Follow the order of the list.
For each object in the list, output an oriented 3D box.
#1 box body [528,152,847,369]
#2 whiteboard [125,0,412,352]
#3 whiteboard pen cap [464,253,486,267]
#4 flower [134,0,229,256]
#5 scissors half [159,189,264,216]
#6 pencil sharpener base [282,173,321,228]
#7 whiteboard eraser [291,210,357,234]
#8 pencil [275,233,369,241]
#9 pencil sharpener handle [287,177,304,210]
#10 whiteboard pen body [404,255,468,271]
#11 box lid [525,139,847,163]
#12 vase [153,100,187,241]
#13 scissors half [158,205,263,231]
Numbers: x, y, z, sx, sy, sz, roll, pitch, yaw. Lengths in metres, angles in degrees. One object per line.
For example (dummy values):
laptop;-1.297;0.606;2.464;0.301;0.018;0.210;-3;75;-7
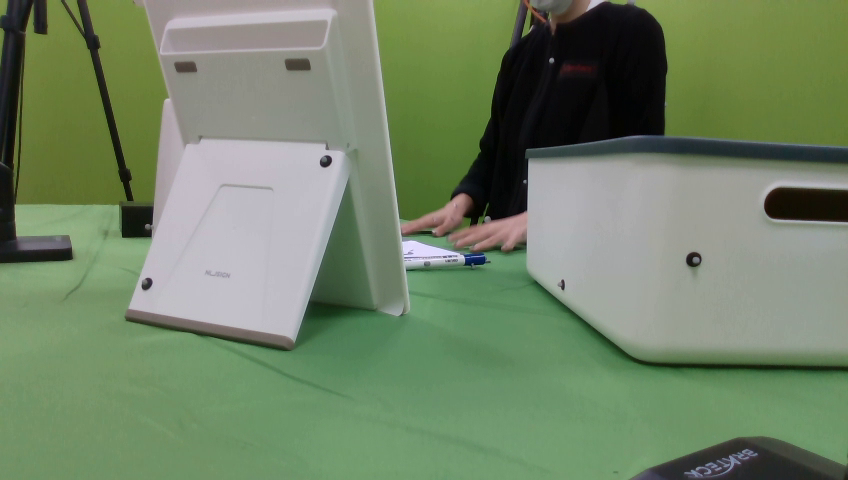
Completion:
box body;0.258;-0.005;0.591;0.254;0.160;0.363;2;7;-4
whiteboard;-0.151;-0.049;0.471;0.216;0.305;0.144;6;27;24
whiteboard pen cap;0.066;0.027;0.818;0.033;0.018;0.018;-6;10;-24
flower;-0.282;-0.146;0.713;0.038;0.362;0.044;-23;24;-31
scissors half;-0.370;-0.062;1.059;0.176;0.040;0.013;-11;8;-26
pencil sharpener base;-0.247;-0.080;1.212;0.061;0.107;0.076;-2;5;-28
whiteboard eraser;-0.184;-0.034;1.115;0.113;0.042;0.055;-3;10;-40
pencil;-0.169;-0.006;1.036;0.195;0.012;0.012;-2;9;-45
pencil sharpener handle;-0.269;-0.096;1.257;0.036;0.067;0.030;-8;8;-27
whiteboard pen body;0.013;0.030;0.792;0.141;0.017;0.017;-3;9;-24
box lid;0.261;-0.078;0.580;0.264;0.015;0.371;2;7;-4
vase;-0.278;-0.066;0.736;0.098;0.200;0.098;2;9;0
scissors half;-0.371;-0.042;1.062;0.176;0.040;0.012;8;5;-28
